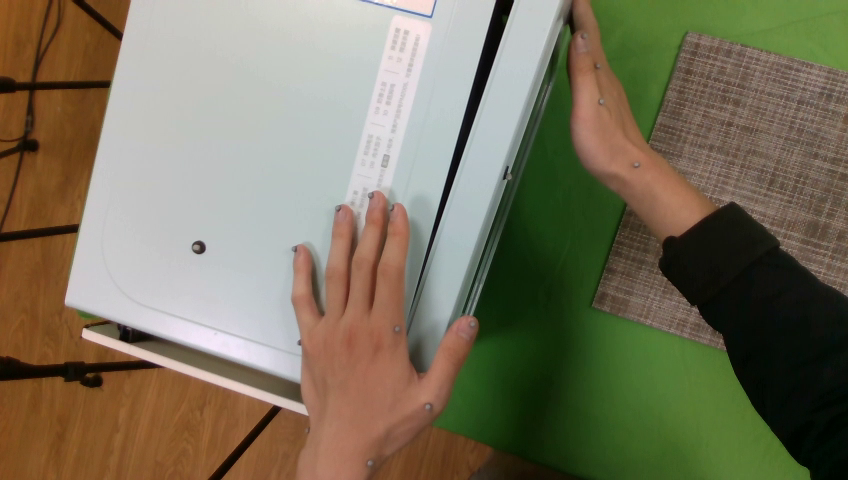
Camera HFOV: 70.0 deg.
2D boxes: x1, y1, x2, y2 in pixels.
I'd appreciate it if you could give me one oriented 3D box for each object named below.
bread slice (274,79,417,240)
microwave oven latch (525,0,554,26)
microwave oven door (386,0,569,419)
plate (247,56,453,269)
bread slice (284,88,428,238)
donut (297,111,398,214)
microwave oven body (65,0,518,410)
[{"bbox_3d":[-0.081,-0.077,0.555,0.105,0.019,0.131,-27,91,12],"label":"bread slice"},{"bbox_3d":[0.123,-0.261,0.611,0.030,0.029,0.079,16,97,8],"label":"microwave oven latch"},{"bbox_3d":[0.054,-0.045,0.533,0.039,0.244,0.356,19,96,9],"label":"microwave oven door"},{"bbox_3d":[-0.072,-0.075,0.610,0.207,0.039,0.207,0,94,8],"label":"plate"},{"bbox_3d":[-0.076,-0.082,0.607,0.107,0.018,0.134,-32,93,2],"label":"bread slice"},{"bbox_3d":[-0.074,-0.074,0.581,0.099,0.048,0.099,0,93,4],"label":"donut"},{"bbox_3d":[-0.081,-0.127,0.556,0.325,0.260,0.442,16,96,8],"label":"microwave oven body"}]
